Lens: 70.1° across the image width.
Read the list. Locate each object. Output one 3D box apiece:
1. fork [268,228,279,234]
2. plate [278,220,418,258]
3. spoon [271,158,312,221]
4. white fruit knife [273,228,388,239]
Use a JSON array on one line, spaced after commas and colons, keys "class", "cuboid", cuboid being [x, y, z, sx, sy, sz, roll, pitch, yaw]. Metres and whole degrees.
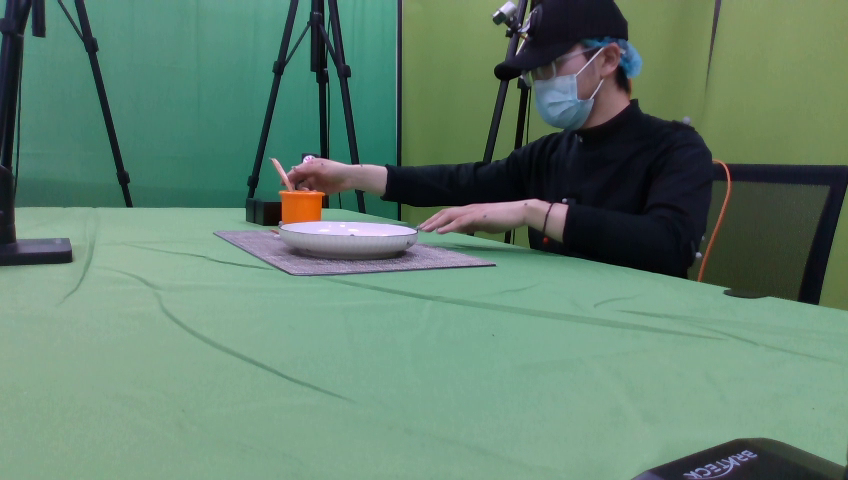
[{"class": "fork", "cuboid": [-0.174, -0.017, 1.084, 0.208, 0.018, 0.028, -3, -3, -30]}, {"class": "plate", "cuboid": [-0.114, -0.002, 0.914, 0.209, 0.038, 0.209, 2, 7, 0]}, {"class": "spoon", "cuboid": [-0.277, -0.102, 1.247, 0.042, 0.193, 0.021, -6, -33, -39]}, {"class": "white fruit knife", "cuboid": [-0.158, -0.009, 1.055, 0.208, 0.016, 0.027, -3, -22, -23]}]
